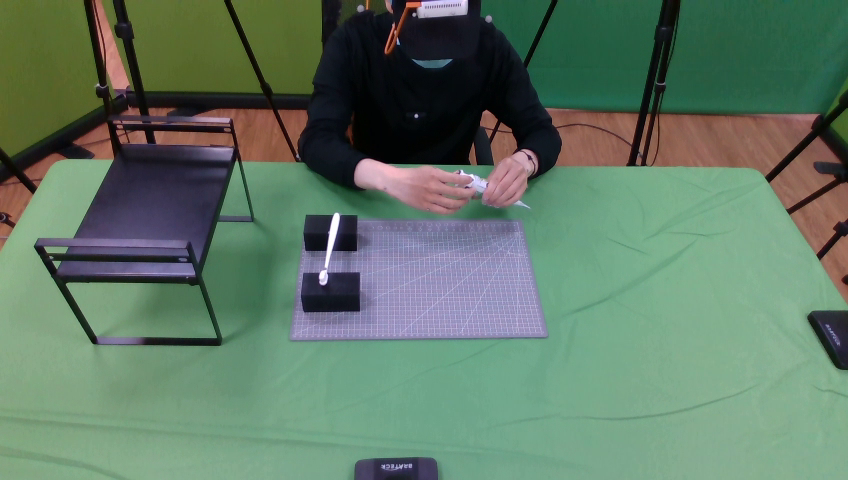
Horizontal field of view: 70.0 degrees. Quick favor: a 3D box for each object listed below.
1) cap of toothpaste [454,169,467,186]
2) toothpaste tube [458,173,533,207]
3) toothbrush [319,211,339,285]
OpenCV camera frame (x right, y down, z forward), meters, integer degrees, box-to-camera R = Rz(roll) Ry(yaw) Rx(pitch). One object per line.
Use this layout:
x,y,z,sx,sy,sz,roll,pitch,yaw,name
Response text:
0.070,-0.120,1.163,0.011,0.037,0.037,19,42,-23,cap of toothpaste
0.139,-0.096,1.194,0.166,0.034,0.055,18,10,-25,toothpaste tube
-0.172,0.009,1.103,0.014,0.017,0.180,-7,44,10,toothbrush
